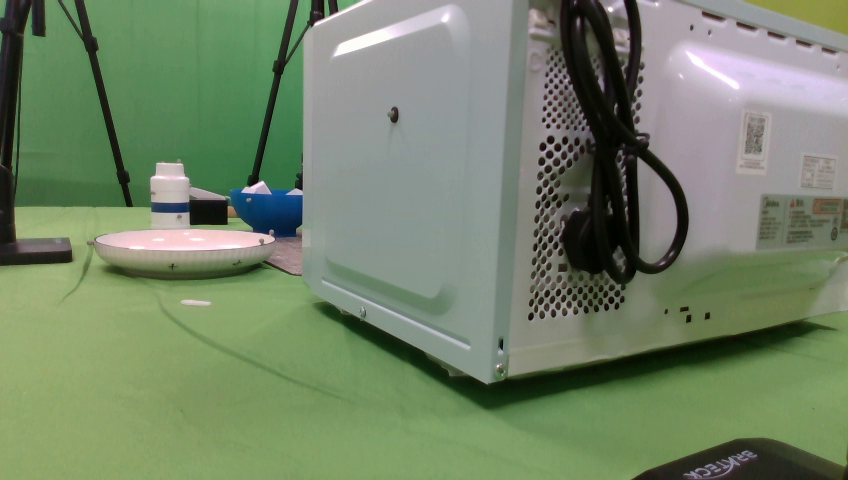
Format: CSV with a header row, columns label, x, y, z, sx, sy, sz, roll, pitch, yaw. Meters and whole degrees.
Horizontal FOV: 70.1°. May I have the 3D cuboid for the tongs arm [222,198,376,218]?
label,x,y,z,sx,sy,sz,roll,pitch,yaw
tongs arm,-0.309,-0.079,1.487,0.385,0.026,0.050,3,7,-2

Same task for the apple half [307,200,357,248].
label,x,y,z,sx,sy,sz,roll,pitch,yaw
apple half,-0.135,-0.024,0.942,0.053,0.074,0.081,15,10,38

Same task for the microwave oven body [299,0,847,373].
label,x,y,z,sx,sy,sz,roll,pitch,yaw
microwave oven body,0.152,-0.055,0.542,0.444,0.260,0.324,-2,7,-33

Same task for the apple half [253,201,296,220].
label,x,y,z,sx,sy,sz,roll,pitch,yaw
apple half,-0.264,-0.053,1.066,0.081,0.033,0.081,3,8,0

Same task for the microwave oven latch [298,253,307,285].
label,x,y,z,sx,sy,sz,roll,pitch,yaw
microwave oven latch,-0.081,0.028,0.582,0.079,0.029,0.030,-2,7,-33

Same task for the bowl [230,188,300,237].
label,x,y,z,sx,sy,sz,roll,pitch,yaw
bowl,-0.264,-0.048,1.066,0.151,0.077,0.151,3,8,0

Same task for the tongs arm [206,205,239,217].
label,x,y,z,sx,sy,sz,roll,pitch,yaw
tongs arm,-0.302,-0.065,1.407,0.389,0.028,0.028,1,4,-14

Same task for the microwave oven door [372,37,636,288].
label,x,y,z,sx,sy,sz,roll,pitch,yaw
microwave oven door,0.110,-0.080,0.686,0.358,0.243,0.039,-2,9,-33

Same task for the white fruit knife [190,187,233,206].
label,x,y,z,sx,sy,sz,roll,pitch,yaw
white fruit knife,-0.413,-0.081,1.270,0.208,0.027,0.016,17,13,-41

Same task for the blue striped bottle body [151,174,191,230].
label,x,y,z,sx,sy,sz,roll,pitch,yaw
blue striped bottle body,-0.439,-0.071,1.052,0.063,0.120,0.063,2,7,0

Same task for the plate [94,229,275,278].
label,x,y,z,sx,sy,sz,roll,pitch,yaw
plate,-0.291,0.016,0.750,0.208,0.039,0.207,2,7,0

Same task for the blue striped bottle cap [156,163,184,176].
label,x,y,z,sx,sy,sz,roll,pitch,yaw
blue striped bottle cap,-0.438,-0.122,1.045,0.044,0.020,0.044,4,6,0
